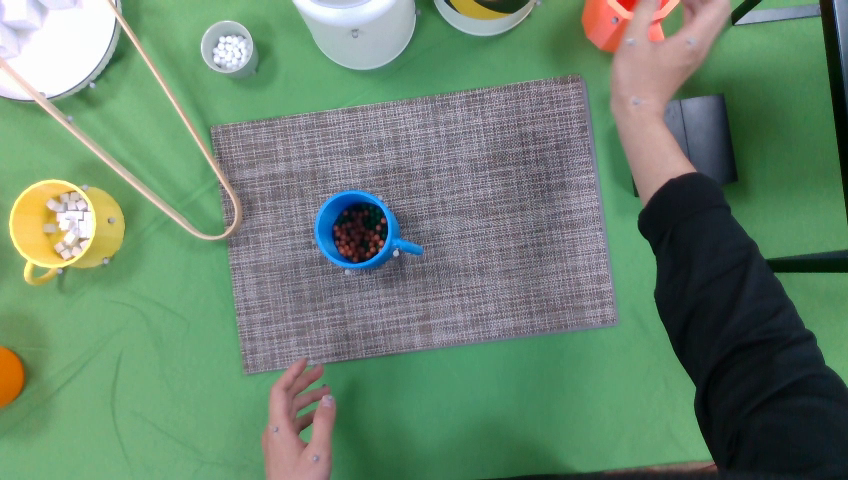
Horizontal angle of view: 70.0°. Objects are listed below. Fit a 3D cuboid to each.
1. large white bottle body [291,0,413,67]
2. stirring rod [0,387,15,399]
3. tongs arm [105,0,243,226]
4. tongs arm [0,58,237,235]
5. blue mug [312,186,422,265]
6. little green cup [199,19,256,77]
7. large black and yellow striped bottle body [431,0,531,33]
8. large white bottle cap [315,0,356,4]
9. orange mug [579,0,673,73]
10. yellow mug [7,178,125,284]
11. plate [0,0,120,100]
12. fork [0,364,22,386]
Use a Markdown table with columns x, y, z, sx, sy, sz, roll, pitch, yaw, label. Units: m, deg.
| x | y | z | sx | sy | sz | roll | pitch | yaw | label |
| --- | --- | --- | --- | --- | --- | --- | --- | --- | --- |
| -0.080 | -0.276 | 0.646 | 0.130 | 0.185 | 0.130 | 0 | 88 | 1 | large white bottle body |
| -0.554 | 0.170 | 0.665 | 0.006 | 0.177 | 0.014 | -18 | 69 | 43 | stirring rod |
| -0.317 | -0.188 | 0.705 | 0.028 | 0.027 | 0.388 | -33 | 95 | -8 | tongs arm |
| -0.380 | -0.132 | 0.702 | 0.385 | 0.026 | 0.051 | 44 | 86 | -6 | tongs arm |
| -0.058 | -0.008 | 0.677 | 0.116 | 0.106 | 0.082 | 18 | 89 | 1 | blue mug |
| -0.231 | -0.225 | 0.720 | 0.061 | 0.038 | 0.061 | 0 | 90 | 1 | little green cup |
| 0.067 | -0.316 | 0.645 | 0.131 | 0.184 | 0.130 | 0 | 88 | 1 | large black and yellow striped bottle body |
| -0.083 | -0.278 | 0.561 | 0.115 | 0.018 | 0.114 | 0 | 89 | 2 | large white bottle cap |
| 0.234 | -0.258 | 0.684 | 0.083 | 0.101 | 0.126 | -18 | 84 | 1 | orange mug |
| -0.423 | -0.005 | 0.706 | 0.100 | 0.064 | 0.131 | 31 | 91 | 1 | yellow mug |
| -0.463 | -0.269 | 0.725 | 0.208 | 0.039 | 0.207 | 0 | 89 | 1 | plate |
| -0.565 | 0.153 | 0.662 | 0.209 | 0.018 | 0.028 | 7 | 87 | -42 | fork |
